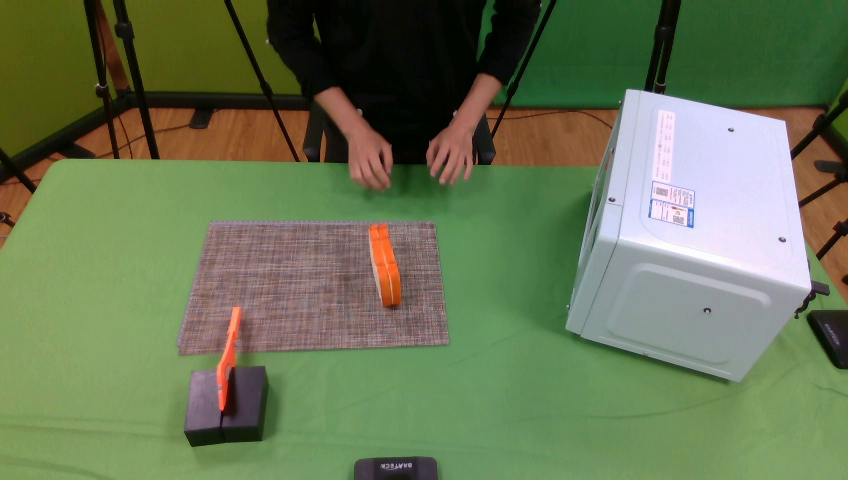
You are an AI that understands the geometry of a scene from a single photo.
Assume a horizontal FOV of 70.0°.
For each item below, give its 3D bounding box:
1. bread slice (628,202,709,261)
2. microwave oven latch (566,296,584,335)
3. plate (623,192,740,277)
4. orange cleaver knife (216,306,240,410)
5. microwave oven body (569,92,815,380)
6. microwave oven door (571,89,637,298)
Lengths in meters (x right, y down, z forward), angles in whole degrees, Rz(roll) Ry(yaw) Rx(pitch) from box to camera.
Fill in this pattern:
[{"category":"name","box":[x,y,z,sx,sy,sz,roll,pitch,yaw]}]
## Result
[{"category":"bread slice","box":[0.474,-0.023,1.164,0.134,0.018,0.106,-27,54,-17]},{"category":"microwave oven latch","box":[0.268,0.126,1.059,0.030,0.029,0.079,16,46,12]},{"category":"plate","box":[0.480,-0.007,1.142,0.208,0.039,0.206,0,47,0]},{"category":"orange cleaver knife","box":[-0.307,0.180,0.957,0.012,0.077,0.210,-2,25,-8]},{"category":"microwave oven body","box":[0.468,-0.022,1.082,0.325,0.261,0.440,15,46,11]},{"category":"microwave oven door","box":[0.343,-0.091,1.133,0.039,0.245,0.354,15,47,10]}]
